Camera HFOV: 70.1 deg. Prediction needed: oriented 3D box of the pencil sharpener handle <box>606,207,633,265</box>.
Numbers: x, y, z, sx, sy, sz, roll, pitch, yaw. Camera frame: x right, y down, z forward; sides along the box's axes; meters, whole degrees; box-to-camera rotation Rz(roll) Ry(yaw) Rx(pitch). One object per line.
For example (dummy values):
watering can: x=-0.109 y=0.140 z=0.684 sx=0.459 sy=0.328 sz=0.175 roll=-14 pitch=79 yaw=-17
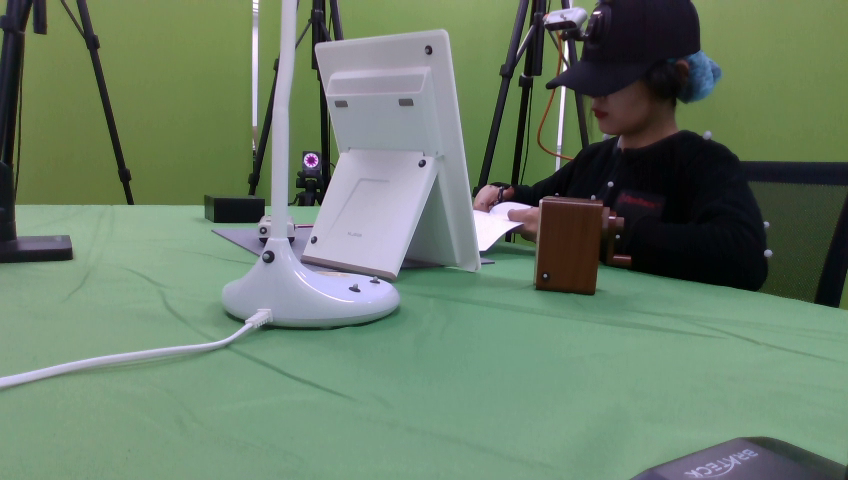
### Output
pencil sharpener handle: x=0.223 y=-0.004 z=0.683 sx=0.030 sy=0.068 sz=0.036 roll=5 pitch=21 yaw=16

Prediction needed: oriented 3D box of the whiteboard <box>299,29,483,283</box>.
whiteboard: x=-0.074 y=-0.082 z=0.742 sx=0.216 sy=0.305 sz=0.144 roll=9 pitch=30 yaw=38

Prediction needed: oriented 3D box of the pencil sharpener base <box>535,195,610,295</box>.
pencil sharpener base: x=0.172 y=0.005 z=0.695 sx=0.076 sy=0.107 sz=0.061 roll=5 pitch=7 yaw=16

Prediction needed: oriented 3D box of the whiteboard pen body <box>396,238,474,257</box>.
whiteboard pen body: x=0.014 y=0.012 z=0.886 sx=0.140 sy=0.017 sz=0.017 roll=9 pitch=10 yaw=38

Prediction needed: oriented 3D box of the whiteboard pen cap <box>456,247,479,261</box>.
whiteboard pen cap: x=0.060 y=0.020 z=0.851 sx=0.033 sy=0.018 sz=0.018 roll=10 pitch=10 yaw=37

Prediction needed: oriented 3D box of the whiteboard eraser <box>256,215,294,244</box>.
whiteboard eraser: x=-0.232 y=-0.016 z=0.951 sx=0.056 sy=0.042 sz=0.112 roll=2 pitch=7 yaw=-12

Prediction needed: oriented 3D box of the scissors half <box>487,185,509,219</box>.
scissors half: x=0.140 y=-0.070 z=1.153 sx=0.013 sy=0.040 sz=0.175 roll=10 pitch=24 yaw=16

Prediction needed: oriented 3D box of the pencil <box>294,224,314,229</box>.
pencil: x=-0.221 y=-0.028 z=1.211 sx=0.195 sy=0.012 sz=0.012 roll=-5 pitch=10 yaw=-34

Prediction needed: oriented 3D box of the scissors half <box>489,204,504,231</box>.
scissors half: x=0.136 y=-0.047 z=1.157 sx=0.013 sy=0.040 sz=0.175 roll=15 pitch=-7 yaw=15

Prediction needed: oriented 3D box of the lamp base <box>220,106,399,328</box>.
lamp base: x=-0.101 y=-0.023 z=0.531 sx=0.160 sy=0.180 sz=0.179 roll=4 pitch=10 yaw=10
